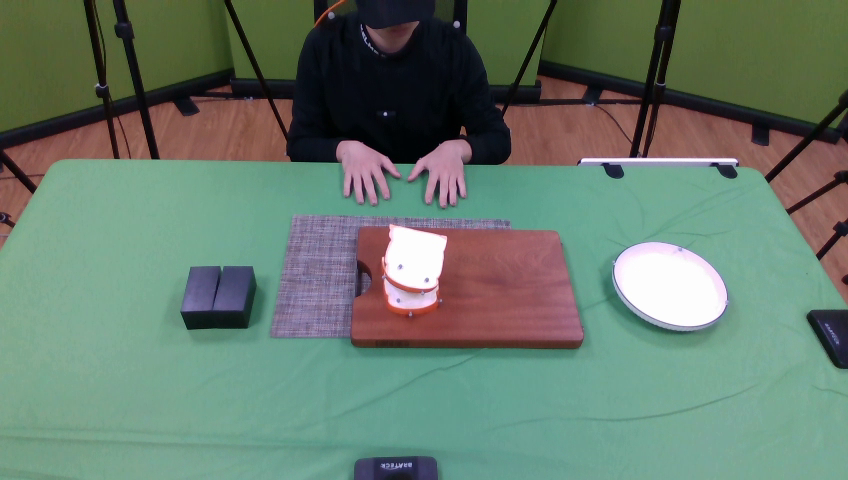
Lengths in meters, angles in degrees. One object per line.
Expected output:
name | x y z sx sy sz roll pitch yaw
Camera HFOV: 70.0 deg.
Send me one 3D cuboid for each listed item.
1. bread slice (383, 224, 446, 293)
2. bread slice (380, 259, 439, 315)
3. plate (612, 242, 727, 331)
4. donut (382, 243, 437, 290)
bread slice | -0.017 0.034 1.050 0.107 0.018 0.133 11 48 -7
bread slice | -0.024 0.079 1.087 0.105 0.019 0.130 -2 45 -5
plate | 0.455 0.090 1.138 0.209 0.038 0.208 3 45 -2
donut | -0.026 0.046 1.077 0.099 0.048 0.098 4 45 -3
